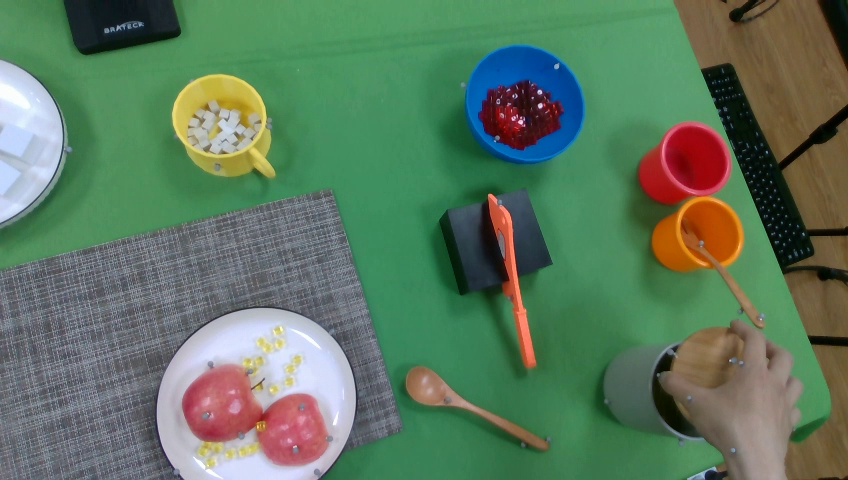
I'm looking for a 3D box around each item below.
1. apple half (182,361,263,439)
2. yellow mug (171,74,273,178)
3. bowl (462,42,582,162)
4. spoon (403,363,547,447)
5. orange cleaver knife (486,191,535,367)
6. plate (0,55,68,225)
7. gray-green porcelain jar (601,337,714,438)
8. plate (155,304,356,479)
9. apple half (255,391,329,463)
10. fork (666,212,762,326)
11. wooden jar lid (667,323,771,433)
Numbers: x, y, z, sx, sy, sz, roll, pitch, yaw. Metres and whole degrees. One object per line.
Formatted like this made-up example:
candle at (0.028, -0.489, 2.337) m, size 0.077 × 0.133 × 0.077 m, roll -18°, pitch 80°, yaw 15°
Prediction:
apple half at (-0.216, 0.170, 0.639) m, size 0.075 × 0.053 × 0.080 m, roll -19°, pitch 83°, yaw -11°
yellow mug at (-0.222, -0.121, 0.703) m, size 0.131 × 0.064 × 0.100 m, roll 44°, pitch 74°, yaw 0°
bowl at (0.114, -0.161, 0.765) m, size 0.152 × 0.077 × 0.150 m, roll 2°, pitch 79°, yaw -10°
spoon at (0.062, 0.199, 0.711) m, size 0.194 × 0.022 × 0.041 m, roll 27°, pitch 60°, yaw -4°
orange cleaver knife at (0.101, 0.047, 0.718) m, size 0.012 × 0.076 × 0.212 m, roll -15°, pitch 105°, yaw -9°
plate at (-0.499, -0.106, 0.664) m, size 0.208 × 0.039 × 0.206 m, roll 2°, pitch 78°, yaw -10°
gray-green porcelain jar at (0.273, 0.169, 0.702) m, size 0.106 × 0.126 × 0.105 m, roll 2°, pitch 78°, yaw -10°
plate at (-0.180, 0.175, 0.661) m, size 0.210 × 0.038 × 0.208 m, roll 2°, pitch 79°, yaw -10°
apple half at (-0.144, 0.205, 0.655) m, size 0.081 × 0.033 × 0.081 m, roll 2°, pitch 75°, yaw -8°
fork at (0.346, 0.028, 0.732) m, size 0.028 × 0.019 × 0.205 m, roll -1°, pitch 35°, yaw -9°
wooden jar lid at (0.295, 0.139, 0.613) m, size 0.108 × 0.021 × 0.108 m, roll 1°, pitch 80°, yaw -5°
